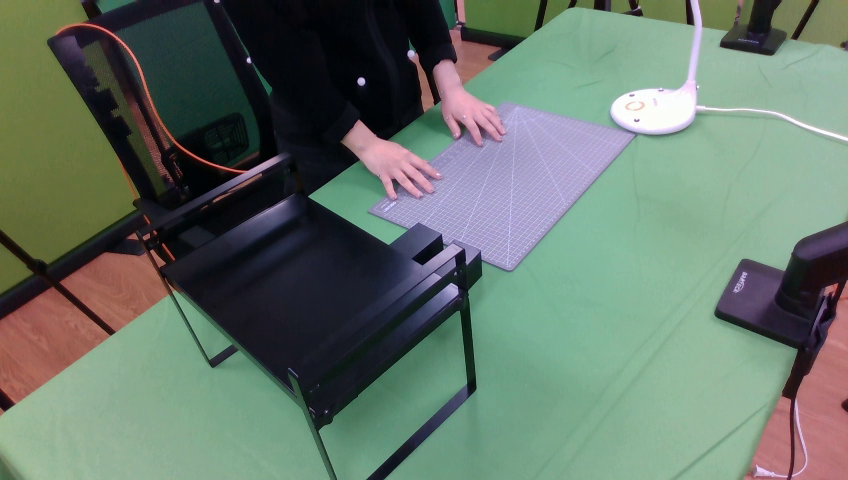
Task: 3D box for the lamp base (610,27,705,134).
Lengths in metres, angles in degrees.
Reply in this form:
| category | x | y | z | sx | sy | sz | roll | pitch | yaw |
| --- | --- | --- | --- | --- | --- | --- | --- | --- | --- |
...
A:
| category | x | y | z | sx | sy | sz | roll | pitch | yaw |
| --- | --- | --- | --- | --- | --- | --- | --- | --- | --- |
| lamp base | 0.458 | -0.316 | 1.154 | 0.179 | 0.181 | 0.159 | -5 | 41 | -1 |
